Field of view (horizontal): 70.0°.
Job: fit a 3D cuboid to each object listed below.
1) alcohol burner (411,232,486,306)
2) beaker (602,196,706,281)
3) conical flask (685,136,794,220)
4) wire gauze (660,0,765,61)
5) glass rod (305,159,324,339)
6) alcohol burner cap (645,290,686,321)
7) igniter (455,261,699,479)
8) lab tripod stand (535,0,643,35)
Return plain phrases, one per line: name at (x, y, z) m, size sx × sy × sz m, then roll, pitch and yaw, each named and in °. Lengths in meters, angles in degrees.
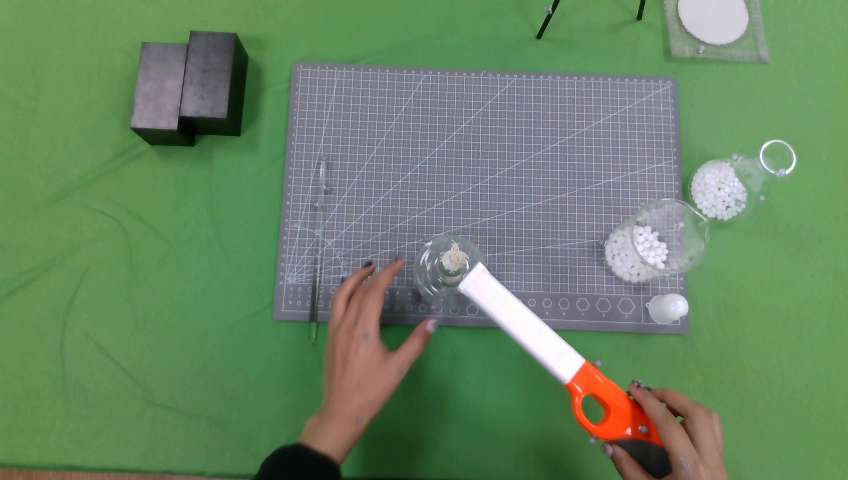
alcohol burner at (0.025, 0.026, 0.610) m, size 0.078 × 0.119 × 0.077 m, roll 0°, pitch 78°, yaw 1°
beaker at (0.233, 0.002, 0.627) m, size 0.084 × 0.100 × 0.073 m, roll -21°, pitch 80°, yaw -5°
conical flask at (0.333, -0.070, 0.634) m, size 0.075 × 0.122 × 0.075 m, roll 0°, pitch 78°, yaw 0°
wire gauze at (0.347, -0.276, 0.731) m, size 0.125 × 0.011 × 0.121 m, roll 1°, pitch 80°, yaw -3°
glass rod at (-0.119, 0.008, 0.663) m, size 0.008 × 0.008 × 0.199 m, roll 3°, pitch 82°, yaw -1°
alcohol burner cap at (0.259, 0.068, 0.643) m, size 0.034 × 0.048 × 0.033 m, roll 0°, pitch 78°, yaw -2°
igniter at (0.138, 0.123, 0.537) m, size 0.276 × 0.025 × 0.057 m, roll 43°, pitch 76°, yaw 2°
lab tripod stand at (0.188, -0.303, 0.669) m, size 0.148 × 0.132 × 0.148 m, roll 0°, pitch 81°, yaw -1°
